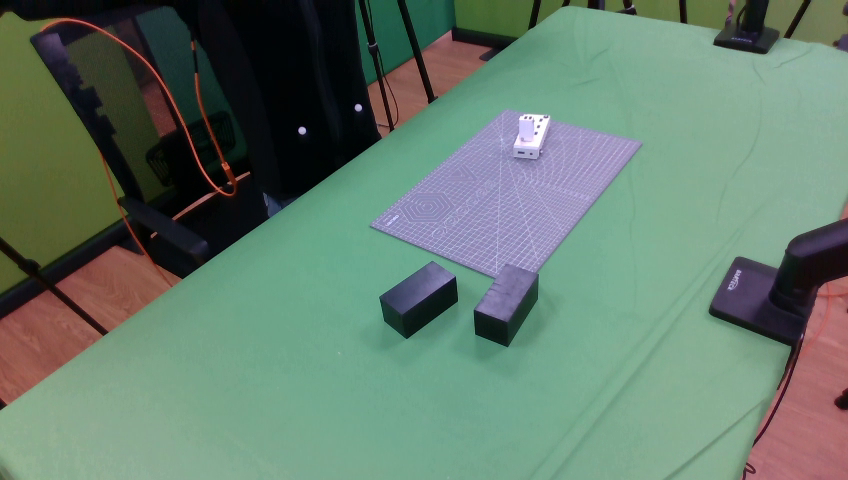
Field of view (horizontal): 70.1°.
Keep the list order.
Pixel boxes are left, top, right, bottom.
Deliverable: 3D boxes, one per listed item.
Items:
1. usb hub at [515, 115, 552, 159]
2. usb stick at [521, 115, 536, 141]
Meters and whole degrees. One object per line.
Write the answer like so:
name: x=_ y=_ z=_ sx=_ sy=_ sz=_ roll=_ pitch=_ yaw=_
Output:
usb hub: x=0.213 y=-0.201 z=1.173 sx=0.049 sy=0.025 sz=0.125 roll=9 pitch=43 yaw=18
usb stick: x=0.196 y=-0.203 z=1.133 sx=0.027 sy=0.059 sz=0.021 roll=8 pitch=42 yaw=15
